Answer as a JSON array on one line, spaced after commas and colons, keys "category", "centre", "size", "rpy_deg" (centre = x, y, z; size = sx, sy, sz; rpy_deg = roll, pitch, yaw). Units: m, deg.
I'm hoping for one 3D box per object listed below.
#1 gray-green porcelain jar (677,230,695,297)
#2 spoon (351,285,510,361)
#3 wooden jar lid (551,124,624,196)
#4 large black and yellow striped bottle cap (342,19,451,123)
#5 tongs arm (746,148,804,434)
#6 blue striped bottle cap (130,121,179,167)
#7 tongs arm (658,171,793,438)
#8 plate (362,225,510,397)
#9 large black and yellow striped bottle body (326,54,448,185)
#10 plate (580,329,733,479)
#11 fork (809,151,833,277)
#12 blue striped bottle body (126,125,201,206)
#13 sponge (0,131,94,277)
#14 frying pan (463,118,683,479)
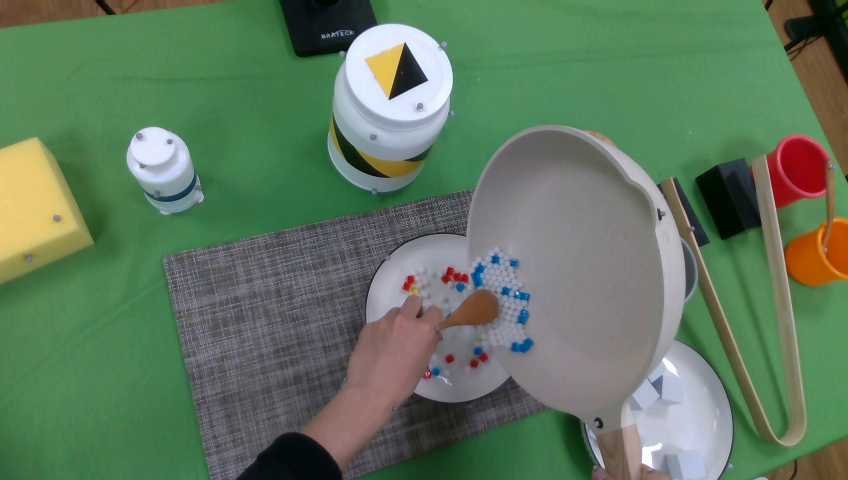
[{"category": "gray-green porcelain jar", "centre": [0.256, 0.041, 0.763], "size": [0.106, 0.127, 0.105], "rpy_deg": [3, 74, -12]}, {"category": "spoon", "centre": [0.011, 0.095, 0.667], "size": [0.194, 0.021, 0.042], "rpy_deg": [-19, 115, -13]}, {"category": "wooden jar lid", "centre": [0.229, -0.112, 0.856], "size": [0.109, 0.021, 0.108], "rpy_deg": [3, 75, -12]}, {"category": "large black and yellow striped bottle cap", "centre": [-0.028, -0.179, 0.636], "size": [0.115, 0.019, 0.114], "rpy_deg": [4, 73, -11]}, {"category": "tongs arm", "centre": [0.477, 0.066, 0.827], "size": [0.028, 0.027, 0.386], "rpy_deg": [-4, 85, -22]}, {"category": "blue striped bottle cap", "centre": [-0.278, -0.099, 0.624], "size": [0.045, 0.021, 0.044], "rpy_deg": [3, 71, -9]}, {"category": "tongs arm", "centre": [0.398, 0.085, 0.801], "size": [0.051, 0.026, 0.384], "rpy_deg": [-19, 90, -19]}, {"category": "plate", "centre": [0.026, 0.085, 0.739], "size": [0.210, 0.038, 0.208], "rpy_deg": [4, 74, -12]}, {"category": "large black and yellow striped bottle body", "centre": [-0.046, -0.155, 0.716], "size": [0.131, 0.184, 0.130], "rpy_deg": [4, 73, -12]}, {"category": "plate", "centre": [0.290, 0.213, 0.770], "size": [0.208, 0.039, 0.206], "rpy_deg": [4, 74, -12]}, {"category": "fork", "centre": [0.554, -0.032, 0.840], "size": [0.028, 0.018, 0.209], "rpy_deg": [-27, 126, -11]}, {"category": "blue striped bottle body", "centre": [-0.289, -0.086, 0.673], "size": [0.063, 0.121, 0.062], "rpy_deg": [4, 74, -12]}, {"category": "sponge", "centre": [-0.483, -0.017, 0.639], "size": [0.207, 0.061, 0.118], "rpy_deg": [-28, 83, -19]}, {"category": "frying pan", "centre": [0.164, 0.116, 0.595], "size": [0.103, 0.307, 0.484], "rpy_deg": [0, 67, -25]}]
